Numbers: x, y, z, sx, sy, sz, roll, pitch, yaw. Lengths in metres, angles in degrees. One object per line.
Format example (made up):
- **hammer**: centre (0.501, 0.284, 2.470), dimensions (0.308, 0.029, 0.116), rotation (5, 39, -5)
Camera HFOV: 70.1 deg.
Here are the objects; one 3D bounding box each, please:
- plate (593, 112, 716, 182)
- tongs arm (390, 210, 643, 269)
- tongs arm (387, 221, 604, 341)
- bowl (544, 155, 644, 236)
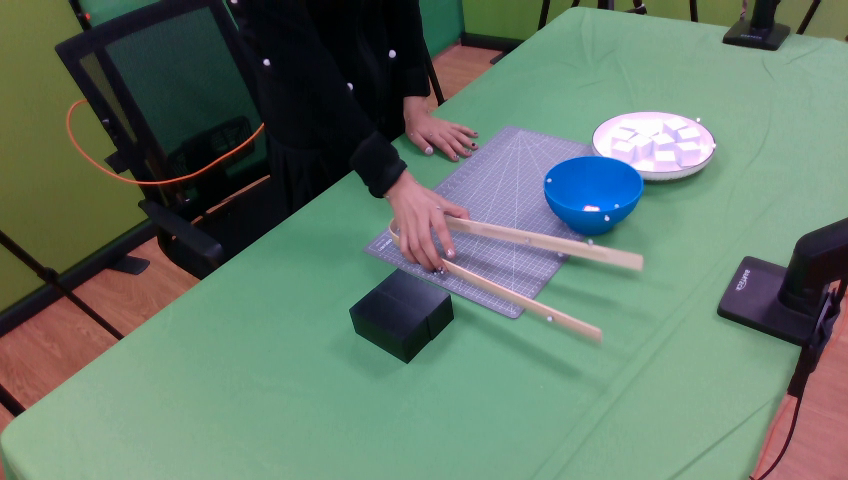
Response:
- **plate**: centre (0.408, -0.163, 1.084), dimensions (0.207, 0.039, 0.206), rotation (-4, 40, 4)
- **tongs arm**: centre (0.122, 0.003, 0.897), dimensions (0.382, 0.027, 0.051), rotation (14, 50, 28)
- **tongs arm**: centre (0.080, 0.051, 0.855), dimensions (0.384, 0.028, 0.028), rotation (25, 59, 35)
- **bowl**: centre (0.266, -0.061, 0.957), dimensions (0.151, 0.077, 0.150), rotation (-5, 41, 5)
